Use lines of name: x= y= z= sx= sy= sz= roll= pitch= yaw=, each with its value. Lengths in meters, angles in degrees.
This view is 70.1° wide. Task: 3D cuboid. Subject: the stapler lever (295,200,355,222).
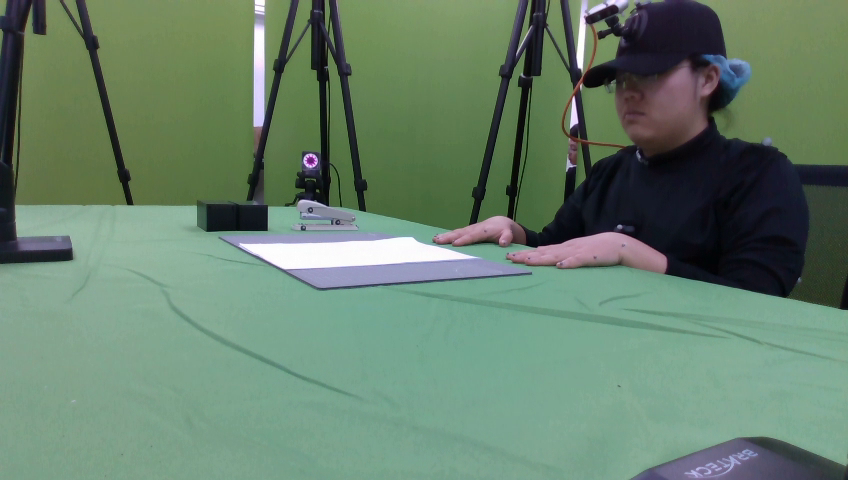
stapler lever: x=-0.196 y=-0.058 z=1.199 sx=0.118 sy=0.040 sz=0.026 roll=2 pitch=9 yaw=-25

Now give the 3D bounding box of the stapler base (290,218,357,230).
stapler base: x=-0.199 y=-0.033 z=1.201 sx=0.131 sy=0.024 sz=0.041 roll=2 pitch=9 yaw=-25
